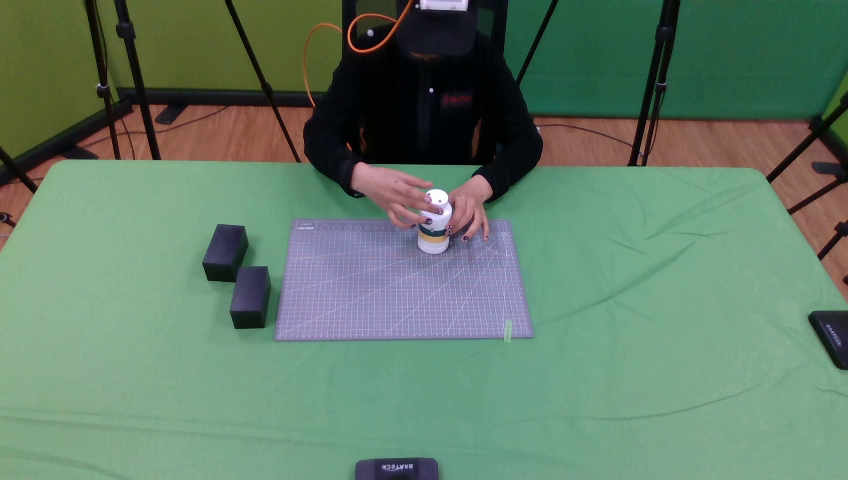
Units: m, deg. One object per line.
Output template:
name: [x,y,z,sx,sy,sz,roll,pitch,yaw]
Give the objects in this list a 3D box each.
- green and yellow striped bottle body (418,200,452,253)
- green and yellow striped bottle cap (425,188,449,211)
green and yellow striped bottle body: [0.021,-0.036,1.160,0.063,0.120,0.063,2,46,-2]
green and yellow striped bottle cap: [0.024,-0.076,1.121,0.045,0.020,0.045,1,49,-1]
